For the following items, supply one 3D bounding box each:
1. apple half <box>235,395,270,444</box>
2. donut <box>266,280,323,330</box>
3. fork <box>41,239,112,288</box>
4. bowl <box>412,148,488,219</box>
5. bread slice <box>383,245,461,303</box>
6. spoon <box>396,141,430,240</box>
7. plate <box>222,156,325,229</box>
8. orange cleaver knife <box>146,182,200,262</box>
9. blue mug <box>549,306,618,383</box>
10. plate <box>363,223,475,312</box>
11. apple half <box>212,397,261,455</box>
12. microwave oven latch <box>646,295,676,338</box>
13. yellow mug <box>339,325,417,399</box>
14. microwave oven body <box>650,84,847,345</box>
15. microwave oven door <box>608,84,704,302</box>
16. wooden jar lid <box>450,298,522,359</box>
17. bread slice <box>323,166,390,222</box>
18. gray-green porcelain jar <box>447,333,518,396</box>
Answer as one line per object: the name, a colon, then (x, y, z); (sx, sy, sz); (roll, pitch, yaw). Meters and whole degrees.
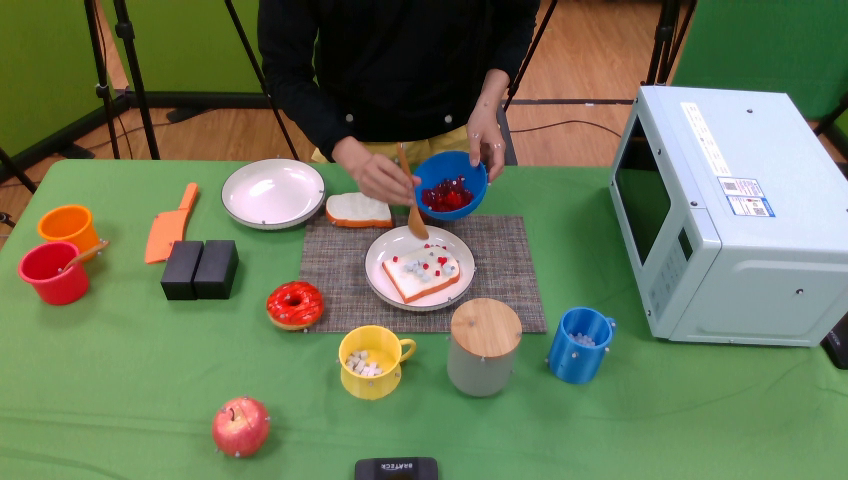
apple half: (-0.245, 0.260, 0.893); (0.033, 0.082, 0.081); (-29, 55, -22)
donut: (-0.223, 0.113, 1.051); (0.099, 0.048, 0.098); (2, 45, -2)
fork: (-0.591, 0.040, 1.028); (0.207, 0.019, 0.028); (-27, 37, 29)
bowl: (0.055, -0.095, 1.169); (0.151, 0.077, 0.150); (-7, 57, 12)
bread slice: (0.001, 0.056, 1.129); (0.131, 0.019, 0.104); (-22, 52, -19)
spoon: (-0.022, -0.078, 1.011); (0.041, 0.194, 0.021); (14, 39, 35)
plate: (-0.308, -0.095, 1.251); (0.209, 0.038, 0.208); (3, 47, -3)
orange cleaver knife: (-0.494, -0.039, 1.198); (0.077, 0.012, 0.210); (-4, 48, 2)
blue mug: (0.269, 0.167, 0.997); (0.116, 0.106, 0.082); (-19, 51, -21)
plate: (-0.009, 0.054, 1.126); (0.208, 0.039, 0.206); (2, 47, -2)
apple half: (-0.276, 0.276, 0.877); (0.053, 0.075, 0.080); (-29, 58, -21)
microwave oven latch: (0.413, 0.133, 1.060); (0.030, 0.029, 0.078); (4, 46, 1)
yellow mug: (-0.072, 0.190, 0.978); (0.131, 0.064, 0.099); (-18, 50, -20)
microwave oven body: (0.569, -0.054, 1.116); (0.326, 0.261, 0.439); (2, 46, -1)
microwave oven door: (0.424, -0.096, 1.138); (0.039, 0.245, 0.353); (2, 47, -1)
wooden jar lid: (0.093, 0.135, 0.914); (0.108, 0.021, 0.107); (3, 48, -3)
bread slice: (-0.140, -0.092, 1.224); (0.134, 0.018, 0.106); (-19, 51, 6)
gray-green porcelain jar: (0.091, 0.178, 0.960); (0.106, 0.127, 0.105); (2, 46, -2)
